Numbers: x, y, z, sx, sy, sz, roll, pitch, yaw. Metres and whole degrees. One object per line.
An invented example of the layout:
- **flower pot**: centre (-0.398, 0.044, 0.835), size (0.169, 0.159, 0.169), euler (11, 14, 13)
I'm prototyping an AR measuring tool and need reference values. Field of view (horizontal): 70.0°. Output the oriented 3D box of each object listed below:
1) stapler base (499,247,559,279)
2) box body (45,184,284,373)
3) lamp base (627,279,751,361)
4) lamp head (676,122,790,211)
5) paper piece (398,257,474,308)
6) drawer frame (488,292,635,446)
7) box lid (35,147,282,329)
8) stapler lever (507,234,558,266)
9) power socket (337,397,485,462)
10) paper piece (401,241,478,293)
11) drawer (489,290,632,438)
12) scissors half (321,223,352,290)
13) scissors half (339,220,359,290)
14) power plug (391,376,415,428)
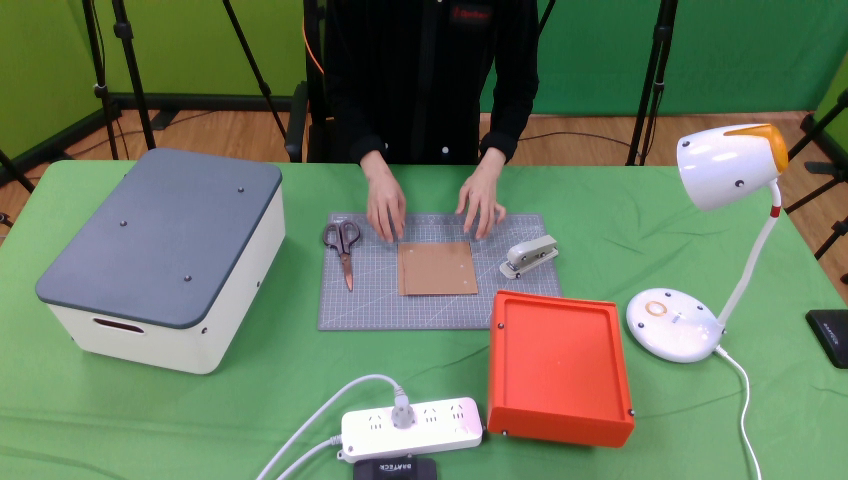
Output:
- **stapler base**: centre (0.206, 0.033, 1.178), size (0.130, 0.024, 0.041), euler (-25, 55, -27)
- **box body**: centre (-0.415, 0.029, 1.039), size (0.254, 0.161, 0.362), euler (10, 46, 5)
- **lamp base**: centre (0.460, 0.100, 1.027), size (0.178, 0.181, 0.160), euler (27, 51, 17)
- **lamp head**: centre (0.423, -0.104, 0.819), size (0.122, 0.113, 0.112), euler (-13, 33, 40)
- **paper piece**: centre (0.026, 0.065, 1.156), size (0.135, 0.004, 0.135), euler (12, 44, -1)
- **drawer frame**: centre (0.204, 0.191, 0.931), size (0.202, 0.083, 0.212), euler (7, 45, 2)
- **box lid**: centre (-0.411, -0.023, 0.987), size (0.263, 0.015, 0.369), euler (10, 47, 5)
- **stapler lever**: centre (0.209, 0.015, 1.161), size (0.118, 0.040, 0.026), euler (-25, 55, -27)
- **power socket**: centre (-0.018, 0.285, 0.915), size (0.227, 0.033, 0.071), euler (-4, 46, -8)
- **paper piece**: centre (0.028, 0.051, 1.155), size (0.136, 0.009, 0.137), euler (2, 44, -9)
- **drawer**: centre (0.203, 0.185, 0.934), size (0.194, 0.073, 0.210), euler (7, 47, 1)
- **scissors half**: centre (-0.163, 0.030, 1.159), size (0.040, 0.013, 0.174), euler (-16, 50, -15)
- **scissors half**: centre (-0.144, 0.026, 1.162), size (0.040, 0.013, 0.174), euler (-6, 49, 0)
- **power plug**: centre (-0.031, 0.249, 0.917), size (0.035, 0.053, 0.072), euler (3, 46, -1)
